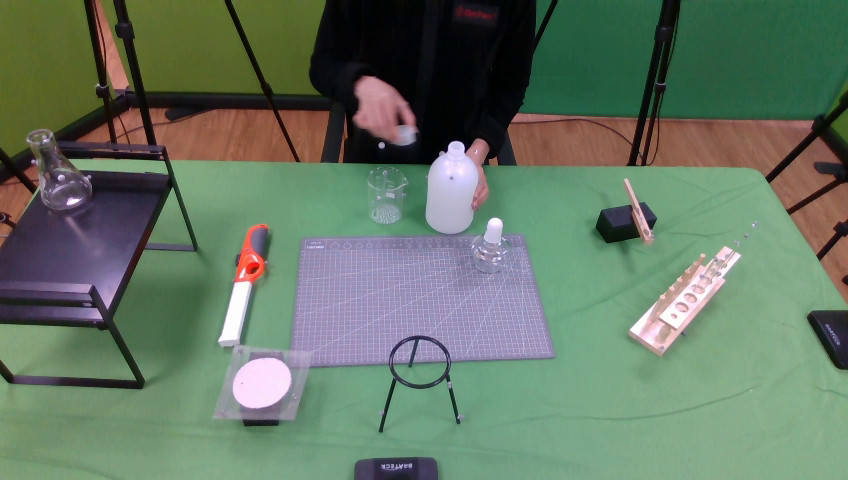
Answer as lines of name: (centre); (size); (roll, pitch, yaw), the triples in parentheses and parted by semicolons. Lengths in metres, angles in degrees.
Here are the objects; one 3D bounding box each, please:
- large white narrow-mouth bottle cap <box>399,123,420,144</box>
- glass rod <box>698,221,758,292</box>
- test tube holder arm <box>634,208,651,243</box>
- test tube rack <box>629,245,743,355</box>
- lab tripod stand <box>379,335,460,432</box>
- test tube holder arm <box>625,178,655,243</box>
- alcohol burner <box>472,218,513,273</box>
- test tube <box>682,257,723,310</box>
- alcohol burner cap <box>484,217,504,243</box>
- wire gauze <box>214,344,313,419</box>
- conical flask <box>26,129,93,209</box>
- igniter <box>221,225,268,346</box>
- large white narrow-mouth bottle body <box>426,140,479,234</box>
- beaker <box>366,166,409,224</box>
large white narrow-mouth bottle cap: (-0.025, -0.189, 1.072); (0.038, 0.024, 0.037); (2, 47, -2)
glass rod: (0.527, 0.035, 1.060); (0.008, 0.200, 0.008); (5, 49, -6)
test tube holder arm: (0.428, -0.030, 1.189); (0.010, 0.015, 0.087); (1, 47, -2)
test tube rack: (0.474, 0.095, 1.091); (0.242, 0.085, 0.066); (-34, 56, -31)
lab tripod stand: (-0.011, 0.214, 0.911); (0.148, 0.132, 0.147); (1, 45, 0)
test tube holder arm: (0.433, -0.062, 1.220); (0.013, 0.015, 0.177); (1, 47, -3)
alcohol burner: (0.128, 0.005, 1.132); (0.078, 0.120, 0.077); (0, 47, 0)
test tube: (0.475, 0.080, 1.037); (0.017, 0.151, 0.017); (1, 50, -1)
alcohol burner cap: (0.129, -0.021, 1.107); (0.034, 0.048, 0.033); (4, 40, -3)
wire gauze: (-0.241, 0.213, 0.915); (0.121, 0.011, 0.124); (5, 46, 1)
conical flask: (-0.575, -0.113, 0.946); (0.075, 0.122, 0.075); (2, 46, -2)
igniter: (-0.323, 0.072, 1.100); (0.057, 0.025, 0.274); (-6, 45, 5)
large white narrow-mouth bottle body: (0.058, -0.110, 1.186); (0.102, 0.195, 0.101); (2, 46, -2)
beaker: (-0.074, -0.088, 1.222); (0.084, 0.101, 0.073); (4, 46, -1)
